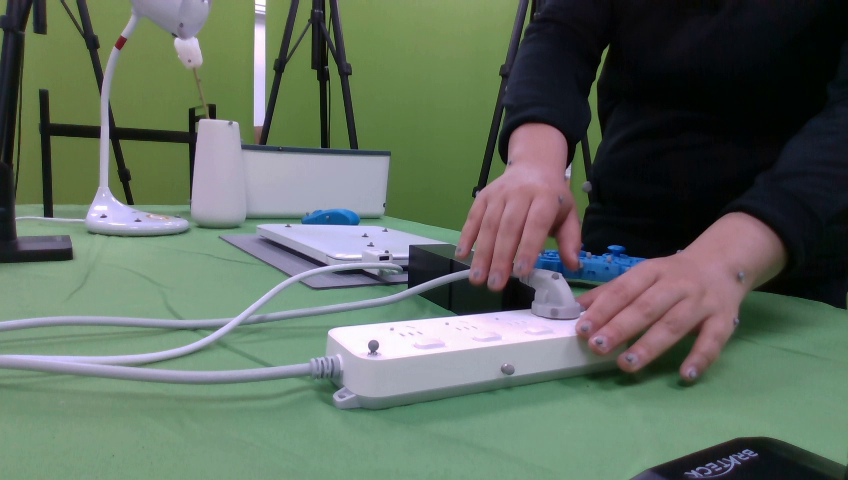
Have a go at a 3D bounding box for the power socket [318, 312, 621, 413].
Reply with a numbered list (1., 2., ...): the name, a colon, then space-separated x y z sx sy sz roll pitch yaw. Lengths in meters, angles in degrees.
1. power socket: 0.037 0.075 0.408 0.228 0.032 0.072 -2 8 -29

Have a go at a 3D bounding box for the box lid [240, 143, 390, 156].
1. box lid: -0.295 -0.217 1.463 0.373 0.015 0.262 -1 8 -29

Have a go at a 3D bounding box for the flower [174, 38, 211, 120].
1. flower: -0.401 -0.207 1.141 0.038 0.361 0.044 -14 3 44

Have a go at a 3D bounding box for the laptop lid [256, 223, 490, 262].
1. laptop lid: -0.093 0.000 0.911 0.243 0.013 0.355 1 7 -30

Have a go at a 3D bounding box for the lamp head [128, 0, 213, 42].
1. lamp head: -0.423 -0.394 0.979 0.123 0.112 0.112 20 7 -3

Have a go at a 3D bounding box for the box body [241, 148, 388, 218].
1. box body: -0.297 -0.143 1.474 0.366 0.160 0.253 -1 9 -30

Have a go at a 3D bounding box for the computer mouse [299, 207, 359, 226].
1. computer mouse: -0.195 -0.046 1.240 0.117 0.041 0.063 0 9 12

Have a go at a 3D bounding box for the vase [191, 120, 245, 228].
1. vase: -0.389 -0.123 1.142 0.098 0.200 0.098 3 9 0

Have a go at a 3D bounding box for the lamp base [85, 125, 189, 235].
1. lamp base: -0.497 -0.105 1.026 0.179 0.180 0.160 1 7 2

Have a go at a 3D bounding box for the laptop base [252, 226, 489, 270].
1. laptop base: -0.096 0.011 0.911 0.237 0.023 0.352 2 6 -32

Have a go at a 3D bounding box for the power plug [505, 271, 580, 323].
1. power plug: 0.092 0.052 0.469 0.035 0.052 0.072 -1 6 -15

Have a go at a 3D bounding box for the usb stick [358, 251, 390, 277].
1. usb stick: -0.062 0.027 0.707 0.021 0.027 0.059 -5 5 -28

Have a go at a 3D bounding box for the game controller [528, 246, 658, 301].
1. game controller: 0.202 0.037 0.732 0.155 0.051 0.097 5 10 20
